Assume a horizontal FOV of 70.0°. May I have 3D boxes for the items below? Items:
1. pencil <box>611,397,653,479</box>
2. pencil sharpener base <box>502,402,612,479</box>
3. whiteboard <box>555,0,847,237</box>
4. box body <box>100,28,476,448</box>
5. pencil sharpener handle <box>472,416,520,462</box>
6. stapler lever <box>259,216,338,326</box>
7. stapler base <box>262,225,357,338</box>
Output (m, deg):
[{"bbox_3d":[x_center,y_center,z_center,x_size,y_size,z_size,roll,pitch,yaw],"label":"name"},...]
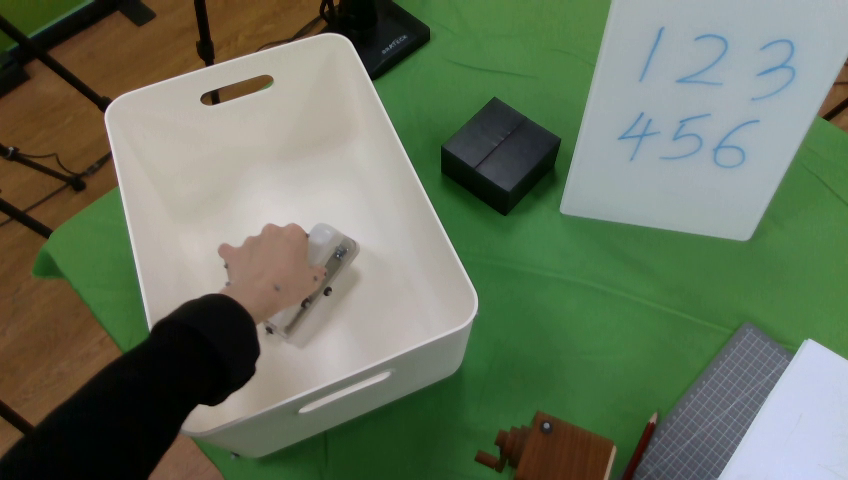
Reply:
[{"bbox_3d":[0.176,0.229,0.564,0.012,0.012,0.193,28,67,15],"label":"pencil"},{"bbox_3d":[0.110,0.193,0.533,0.076,0.108,0.061,20,64,12],"label":"pencil sharpener base"},{"bbox_3d":[0.280,-0.177,0.649,0.217,0.308,0.143,9,43,7],"label":"whiteboard"},{"bbox_3d":[-0.134,-0.006,0.611,0.254,0.161,0.360,-21,64,-10],"label":"box body"},{"bbox_3d":[0.061,0.173,0.530,0.030,0.068,0.036,20,48,12],"label":"pencil sharpener handle"},{"bbox_3d":[-0.127,0.028,0.611,0.026,0.040,0.118,27,76,23],"label":"stapler lever"},{"bbox_3d":[-0.122,0.037,0.635,0.041,0.024,0.130,27,75,23],"label":"stapler base"}]
